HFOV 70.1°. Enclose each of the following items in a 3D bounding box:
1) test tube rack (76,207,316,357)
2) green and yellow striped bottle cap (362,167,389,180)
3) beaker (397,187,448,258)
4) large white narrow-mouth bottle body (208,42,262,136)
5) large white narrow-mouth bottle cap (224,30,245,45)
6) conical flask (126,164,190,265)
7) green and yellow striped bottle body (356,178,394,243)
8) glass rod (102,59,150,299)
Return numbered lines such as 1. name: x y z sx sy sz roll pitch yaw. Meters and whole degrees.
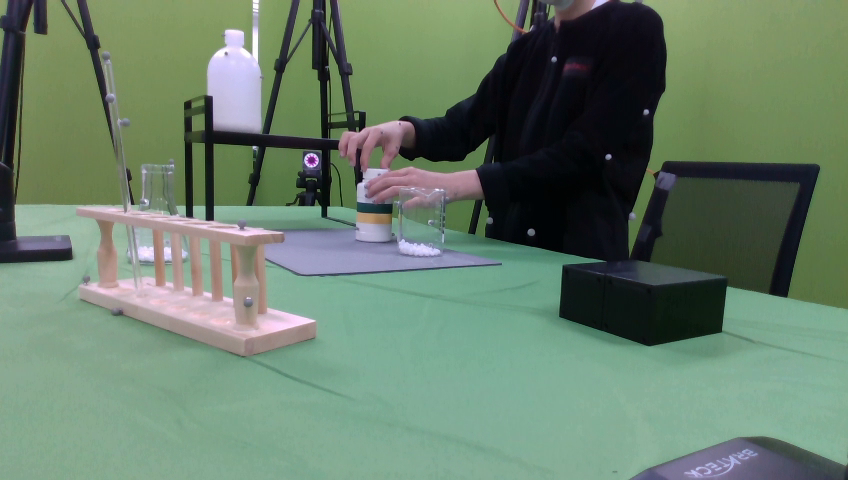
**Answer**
1. test tube rack: -0.196 0.023 0.500 0.241 0.085 0.067 8 9 36
2. green and yellow striped bottle cap: -0.081 -0.112 1.020 0.045 0.020 0.045 4 5 0
3. beaker: -0.002 -0.027 0.890 0.074 0.100 0.084 0 8 -11
4. large white narrow-mouth bottle body: -0.368 -0.304 1.181 0.102 0.194 0.101 2 9 0
5. large white narrow-mouth bottle cap: -0.365 -0.389 1.166 0.038 0.024 0.037 2 9 0
6. conical flask: -0.332 -0.033 0.756 0.075 0.122 0.075 2 7 0
7. green and yellow striped bottle body: -0.083 -0.058 1.028 0.063 0.119 0.063 3 8 0
8. glass rod: -0.243 -0.045 0.496 0.008 0.199 0.008 -3 13 1
